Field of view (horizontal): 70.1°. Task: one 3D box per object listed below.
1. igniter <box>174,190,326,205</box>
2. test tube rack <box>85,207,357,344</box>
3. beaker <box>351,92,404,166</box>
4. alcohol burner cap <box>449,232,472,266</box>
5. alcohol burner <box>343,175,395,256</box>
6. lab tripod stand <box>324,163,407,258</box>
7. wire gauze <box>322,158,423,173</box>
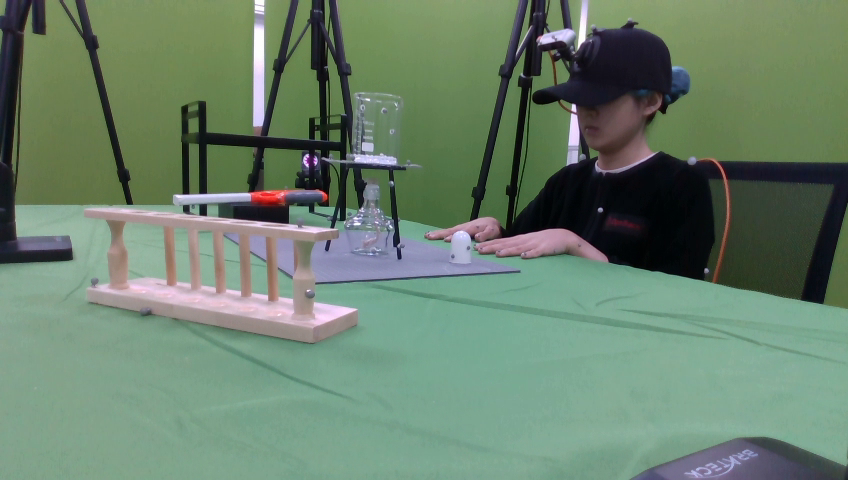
[{"bbox_3d":[-0.317,-0.079,1.132,0.278,0.025,0.057,-4,12,-32],"label":"igniter"},{"bbox_3d":[-0.177,0.022,0.518,0.241,0.085,0.067,6,7,23],"label":"test tube rack"},{"bbox_3d":[-0.068,-0.159,0.886,0.084,0.100,0.073,0,8,-39],"label":"beaker"},{"bbox_3d":[0.052,0.012,0.843,0.034,0.048,0.034,2,6,0],"label":"alcohol burner cap"},{"bbox_3d":[-0.079,-0.036,0.890,0.078,0.119,0.078,5,7,0],"label":"alcohol burner"},{"bbox_3d":[-0.073,-0.047,0.900,0.148,0.131,0.148,2,5,0],"label":"lab tripod stand"},{"bbox_3d":[-0.079,-0.111,0.893,0.122,0.011,0.124,4,3,-24],"label":"wire gauze"}]
